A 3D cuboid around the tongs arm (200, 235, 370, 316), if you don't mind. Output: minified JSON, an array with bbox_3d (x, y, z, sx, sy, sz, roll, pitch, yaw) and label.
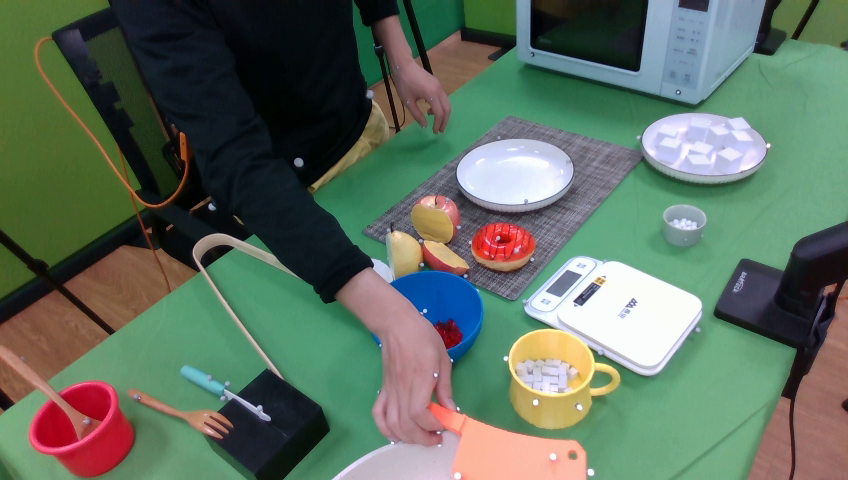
[{"bbox_3d":[-0.209,0.062,0.924,0.381,0.026,0.051,23,53,32],"label":"tongs arm"}]

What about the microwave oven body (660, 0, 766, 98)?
[{"bbox_3d":[0.472,-0.513,1.317,0.438,0.261,0.327,26,51,34],"label":"microwave oven body"}]

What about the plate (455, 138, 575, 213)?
[{"bbox_3d":[0.159,-0.111,1.063,0.209,0.038,0.208,-4,40,4],"label":"plate"}]

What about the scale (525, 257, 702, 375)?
[{"bbox_3d":[0.254,0.091,0.821,0.199,0.032,0.149,28,51,35],"label":"scale"}]

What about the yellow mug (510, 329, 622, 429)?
[{"bbox_3d":[0.169,0.164,0.721,0.130,0.064,0.099,0,40,8],"label":"yellow mug"}]

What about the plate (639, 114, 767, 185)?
[{"bbox_3d":[0.489,-0.157,1.074,0.207,0.039,0.206,-4,40,4],"label":"plate"}]

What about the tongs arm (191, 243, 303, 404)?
[{"bbox_3d":[-0.268,0.110,0.883,0.028,0.028,0.384,-36,47,-18],"label":"tongs arm"}]

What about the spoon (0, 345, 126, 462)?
[{"bbox_3d":[-0.434,0.192,0.720,0.194,0.021,0.042,47,53,-7],"label":"spoon"}]

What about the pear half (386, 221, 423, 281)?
[{"bbox_3d":[-0.029,0.013,0.897,0.056,0.110,0.076,-17,46,-11],"label":"pear half"}]

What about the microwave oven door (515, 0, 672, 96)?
[{"bbox_3d":[0.343,-0.455,1.259,0.353,0.245,0.039,26,51,33],"label":"microwave oven door"}]

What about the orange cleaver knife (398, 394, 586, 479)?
[{"bbox_3d":[0.060,0.207,0.597,0.210,0.012,0.077,12,53,24],"label":"orange cleaver knife"}]

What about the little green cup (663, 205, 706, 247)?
[{"bbox_3d":[0.396,-0.020,0.926,0.061,0.039,0.061,-4,40,4],"label":"little green cup"}]

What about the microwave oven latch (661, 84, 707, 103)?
[{"bbox_3d":[0.516,-0.296,1.204,0.078,0.029,0.030,25,50,33],"label":"microwave oven latch"}]

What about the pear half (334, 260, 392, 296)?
[{"bbox_3d":[-0.093,0.063,0.907,0.088,0.031,0.070,-8,39,-24],"label":"pear half"}]

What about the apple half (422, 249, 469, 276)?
[{"bbox_3d":[0.024,0.039,0.911,0.081,0.033,0.081,20,3,-1],"label":"apple half"}]

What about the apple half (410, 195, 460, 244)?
[{"bbox_3d":[0.024,-0.037,0.970,0.080,0.075,0.053,12,40,28],"label":"apple half"}]

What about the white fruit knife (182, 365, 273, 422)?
[{"bbox_3d":[-0.245,0.188,0.747,0.205,0.027,0.016,9,40,41],"label":"white fruit knife"}]

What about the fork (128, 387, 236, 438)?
[{"bbox_3d":[-0.305,0.207,0.744,0.206,0.019,0.028,4,46,36],"label":"fork"}]

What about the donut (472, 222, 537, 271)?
[{"bbox_3d":[0.123,0.009,0.923,0.099,0.048,0.098,-4,37,3],"label":"donut"}]

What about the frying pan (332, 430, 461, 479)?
[{"bbox_3d":[-0.089,0.306,0.564,0.487,0.103,0.306,10,41,7],"label":"frying pan"}]

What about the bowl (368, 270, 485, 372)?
[{"bbox_3d":[0.007,0.118,0.791,0.151,0.077,0.150,-5,39,4],"label":"bowl"}]
